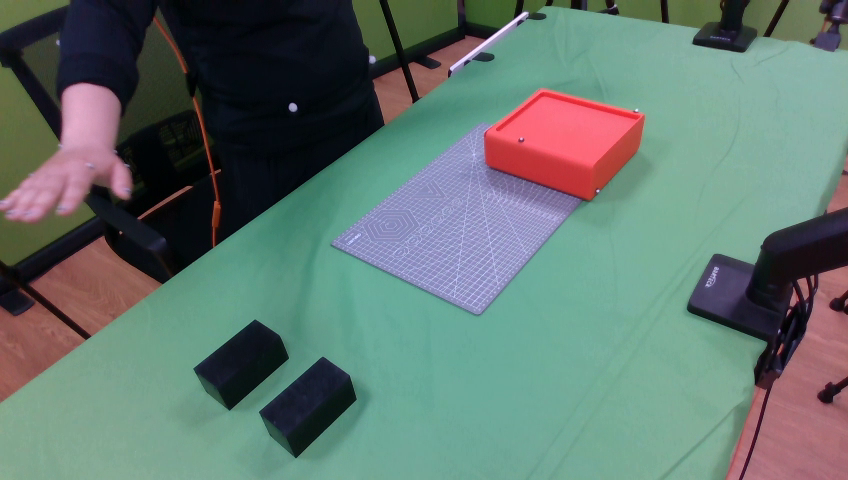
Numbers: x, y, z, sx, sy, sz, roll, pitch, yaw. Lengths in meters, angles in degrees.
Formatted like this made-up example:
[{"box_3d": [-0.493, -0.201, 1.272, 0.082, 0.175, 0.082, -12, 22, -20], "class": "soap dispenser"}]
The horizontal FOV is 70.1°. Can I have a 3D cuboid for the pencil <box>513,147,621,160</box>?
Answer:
[{"box_3d": [0.259, -0.157, 1.101, 0.194, 0.012, 0.012, -4, 40, 3], "class": "pencil"}]

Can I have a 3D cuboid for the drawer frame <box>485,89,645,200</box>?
[{"box_3d": [0.253, -0.180, 1.094, 0.212, 0.083, 0.202, 24, 48, 31], "class": "drawer frame"}]

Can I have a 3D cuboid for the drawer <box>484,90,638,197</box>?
[{"box_3d": [0.247, -0.180, 1.097, 0.210, 0.073, 0.195, 25, 49, 31], "class": "drawer"}]
